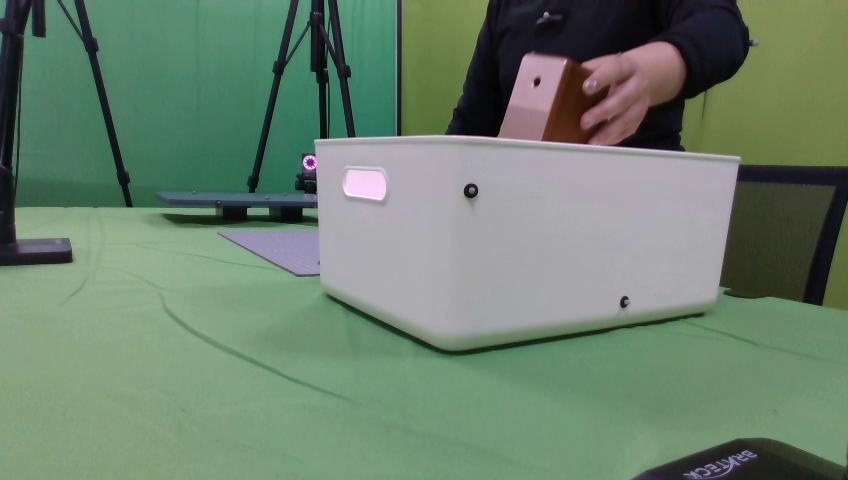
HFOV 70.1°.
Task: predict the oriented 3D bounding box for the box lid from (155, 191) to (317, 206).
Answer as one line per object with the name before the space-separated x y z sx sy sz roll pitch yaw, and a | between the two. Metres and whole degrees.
box lid | -0.387 -0.091 1.340 0.373 0.015 0.262 -1 8 -30

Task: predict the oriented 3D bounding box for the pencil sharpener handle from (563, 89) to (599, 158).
pencil sharpener handle | 0.166 -0.119 0.624 0.031 0.067 0.036 8 20 -39

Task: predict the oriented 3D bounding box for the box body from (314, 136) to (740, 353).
box body | 0.098 -0.012 0.605 0.366 0.160 0.253 -2 8 -33

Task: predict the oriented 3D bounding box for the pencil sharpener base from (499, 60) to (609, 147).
pencil sharpener base | 0.125 -0.112 0.592 0.077 0.107 0.061 8 13 -39
